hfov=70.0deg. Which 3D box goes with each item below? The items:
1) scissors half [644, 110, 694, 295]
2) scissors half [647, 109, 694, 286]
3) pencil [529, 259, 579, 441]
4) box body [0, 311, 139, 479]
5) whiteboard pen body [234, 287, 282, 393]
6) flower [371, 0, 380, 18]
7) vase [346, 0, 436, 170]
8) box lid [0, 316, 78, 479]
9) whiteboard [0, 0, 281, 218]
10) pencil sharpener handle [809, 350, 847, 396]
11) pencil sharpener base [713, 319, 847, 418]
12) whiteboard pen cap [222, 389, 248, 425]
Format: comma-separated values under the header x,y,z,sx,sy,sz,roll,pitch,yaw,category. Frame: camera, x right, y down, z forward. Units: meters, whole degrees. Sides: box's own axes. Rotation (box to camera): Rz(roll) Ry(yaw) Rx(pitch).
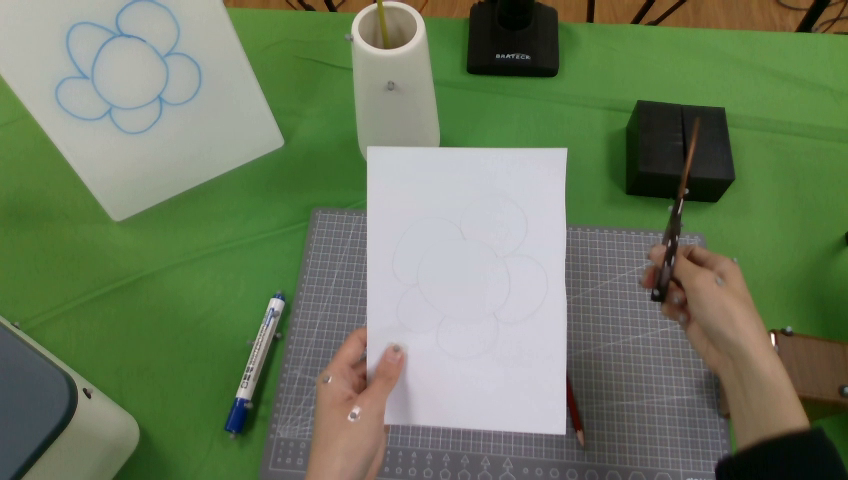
x,y,z,sx,sy,sz,roll,pitch,yaw,category
0.219,-0.035,0.535,0.012,0.040,0.175,14,84,19,scissors half
0.214,-0.042,0.516,0.013,0.040,0.174,15,67,13,scissors half
0.135,0.109,0.626,0.012,0.012,0.192,-9,66,-3,pencil
-0.476,0.157,0.525,0.362,0.161,0.253,29,68,14,box body
-0.174,0.113,0.623,0.017,0.017,0.140,10,63,6,whiteboard pen body
-0.044,-0.212,0.588,0.044,0.365,0.038,-3,46,3,flower
-0.037,-0.163,0.656,0.098,0.201,0.097,-1,63,2,vase
-0.479,0.123,0.459,0.370,0.015,0.262,29,67,14,box lid
-0.327,-0.217,0.660,0.217,0.308,0.142,-28,47,-12,whiteboard
0.382,0.126,0.552,0.030,0.068,0.035,8,58,1,pencil sharpener handle
0.331,0.123,0.564,0.077,0.108,0.061,8,64,1,pencil sharpener base
-0.184,0.163,0.596,0.018,0.018,0.033,11,59,6,whiteboard pen cap
